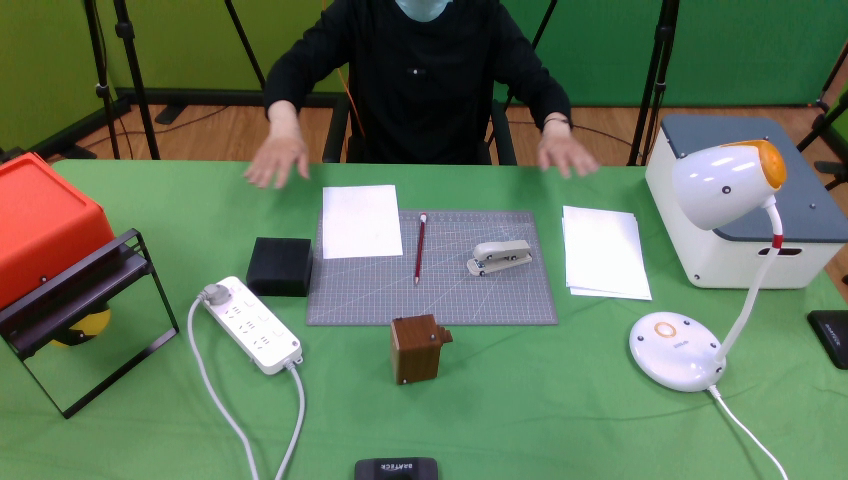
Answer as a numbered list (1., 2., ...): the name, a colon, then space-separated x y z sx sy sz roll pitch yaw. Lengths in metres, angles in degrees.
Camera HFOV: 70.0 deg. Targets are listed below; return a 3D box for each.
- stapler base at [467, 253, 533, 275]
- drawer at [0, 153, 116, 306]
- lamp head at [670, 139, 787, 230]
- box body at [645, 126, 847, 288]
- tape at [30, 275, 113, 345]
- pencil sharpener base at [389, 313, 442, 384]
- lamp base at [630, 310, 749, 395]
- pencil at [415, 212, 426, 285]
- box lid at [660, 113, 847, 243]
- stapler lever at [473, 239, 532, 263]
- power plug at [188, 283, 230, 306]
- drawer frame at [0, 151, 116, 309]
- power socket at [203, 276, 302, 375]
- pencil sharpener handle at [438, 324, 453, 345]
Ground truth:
1. stapler base: 0.147 0.034 1.171 0.131 0.024 0.041 -12 50 -17
2. drawer: -0.601 -0.015 0.880 0.193 0.073 0.211 32 53 23
3. lamp head: 0.415 -0.079 0.812 0.113 0.123 0.112 13 70 -37
4. box body: 0.625 -0.080 1.222 0.254 0.161 0.361 0 46 -3
5. tape: -0.593 0.117 1.021 0.117 0.053 0.116 3 46 -2
6. pencil sharpener base: -0.013 0.175 0.971 0.077 0.107 0.061 -8 47 -12
7. lamp base: 0.447 0.142 0.984 0.161 0.181 0.178 -24 55 -24
8. pencil: -0.007 0.014 1.190 0.012 0.012 0.193 5 47 1
9. box lid: 0.628 -0.132 1.170 0.263 0.015 0.369 1 46 -3
10. stapler lever: 0.150 0.017 1.155 0.118 0.040 0.026 -13 50 -17
11. power plug: -0.368 0.099 1.037 0.072 0.053 0.035 -24 53 -25
12. drawer frame: -0.604 -0.013 0.875 0.201 0.083 0.213 31 52 23
13. power socket: -0.297 0.141 1.034 0.072 0.033 0.225 -34 58 -30
14. pencil sharpener handle: 0.036 0.155 0.976 0.031 0.068 0.036 -8 69 -11
